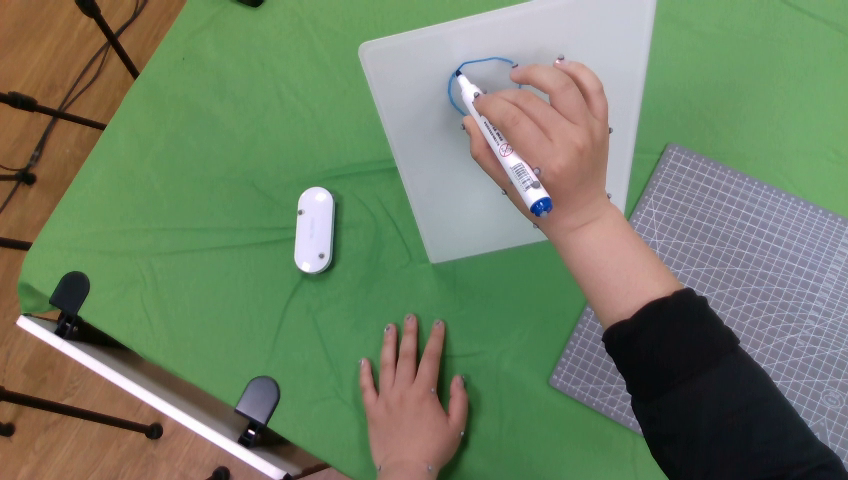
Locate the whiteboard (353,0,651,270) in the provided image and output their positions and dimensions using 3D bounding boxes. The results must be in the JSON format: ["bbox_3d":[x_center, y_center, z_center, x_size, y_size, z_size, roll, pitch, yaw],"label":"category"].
[{"bbox_3d":[0.074,-0.130,0.583,0.217,0.308,0.142,-12,55,5],"label":"whiteboard"}]

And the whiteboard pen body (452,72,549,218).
[{"bbox_3d":[0.049,-0.072,0.425,0.017,0.017,0.139,-27,61,1],"label":"whiteboard pen body"}]

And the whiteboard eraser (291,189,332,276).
[{"bbox_3d":[-0.129,-0.009,0.692,0.041,0.019,0.101,0,77,6],"label":"whiteboard eraser"}]
